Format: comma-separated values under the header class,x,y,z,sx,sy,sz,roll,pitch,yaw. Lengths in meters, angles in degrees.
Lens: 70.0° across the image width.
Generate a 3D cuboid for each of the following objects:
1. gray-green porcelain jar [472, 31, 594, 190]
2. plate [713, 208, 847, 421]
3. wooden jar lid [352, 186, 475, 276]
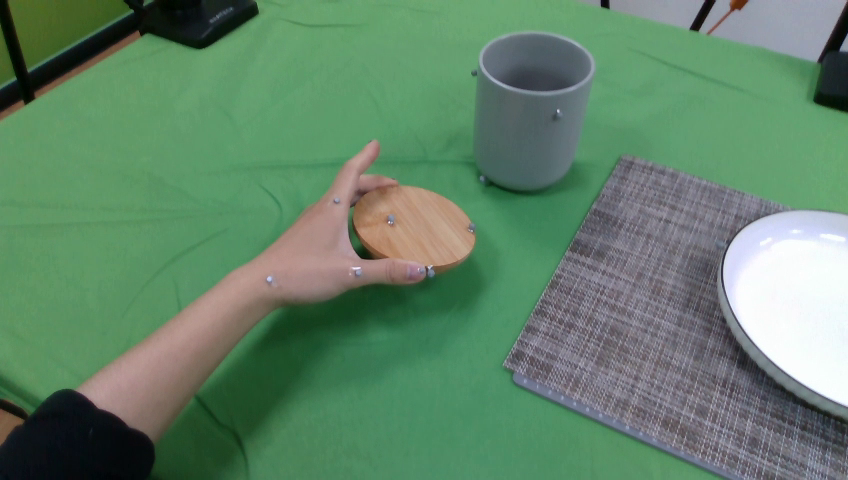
class,x,y,z,sx,sy,sz,roll,pitch,yaw
gray-green porcelain jar,0.101,-0.121,0.594,0.106,0.127,0.105,0,48,0
plate,0.338,0.060,0.486,0.208,0.039,0.205,0,48,0
wooden jar lid,-0.010,-0.008,0.523,0.109,0.021,0.107,11,40,-9
